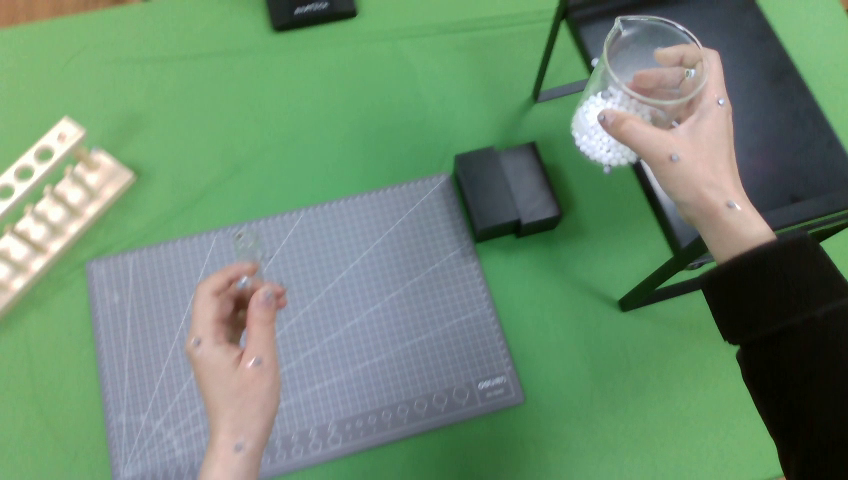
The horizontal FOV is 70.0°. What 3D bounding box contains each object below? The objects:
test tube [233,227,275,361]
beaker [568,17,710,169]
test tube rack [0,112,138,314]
[{"bbox_3d":[-0.125,0.047,0.451,0.017,0.151,0.017,4,47,-4],"label":"test tube"},{"bbox_3d":[0.155,-0.108,0.463,0.074,0.101,0.083,-24,72,-13],"label":"beaker"},{"bbox_3d":[-0.454,-0.023,0.690,0.066,0.085,0.242,35,74,11],"label":"test tube rack"}]
